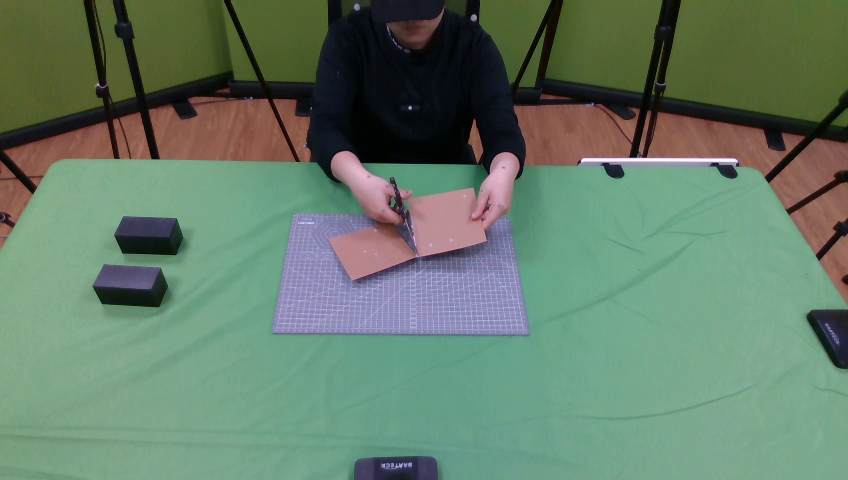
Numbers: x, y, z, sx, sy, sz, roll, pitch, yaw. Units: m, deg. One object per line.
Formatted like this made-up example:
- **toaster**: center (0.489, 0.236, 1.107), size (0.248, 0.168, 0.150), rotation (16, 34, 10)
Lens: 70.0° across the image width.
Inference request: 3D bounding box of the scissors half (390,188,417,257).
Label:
- **scissors half**: center (-0.038, -0.036, 1.191), size (0.013, 0.040, 0.174), rotation (-16, 54, -6)

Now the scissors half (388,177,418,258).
- **scissors half**: center (-0.040, -0.045, 1.172), size (0.013, 0.040, 0.174), rotation (-19, 74, -1)

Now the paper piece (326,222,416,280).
- **paper piece**: center (-0.104, 0.016, 1.168), size (0.135, 0.004, 0.135), rotation (-18, 42, -19)

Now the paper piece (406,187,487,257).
- **paper piece**: center (0.042, -0.037, 1.173), size (0.138, 0.009, 0.135), rotation (-9, 63, -1)
